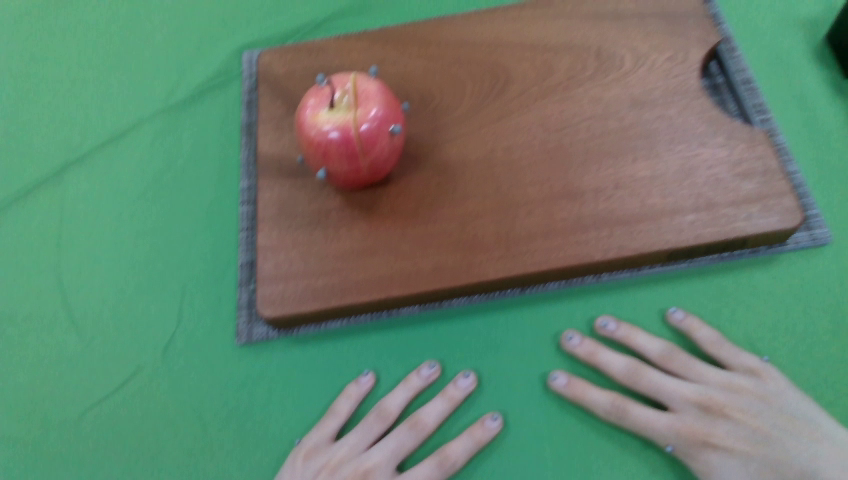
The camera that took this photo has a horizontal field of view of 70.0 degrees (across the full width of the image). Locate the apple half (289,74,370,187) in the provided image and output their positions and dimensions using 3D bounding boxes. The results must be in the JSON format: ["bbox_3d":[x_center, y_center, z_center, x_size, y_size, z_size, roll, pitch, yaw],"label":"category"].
[{"bbox_3d":[-0.073,-0.078,0.460,0.053,0.075,0.080,-11,65,6],"label":"apple half"}]

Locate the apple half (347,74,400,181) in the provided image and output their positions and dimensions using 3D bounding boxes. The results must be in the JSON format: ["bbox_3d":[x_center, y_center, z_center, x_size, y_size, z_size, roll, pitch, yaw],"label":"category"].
[{"bbox_3d":[-0.034,-0.085,0.458,0.033,0.082,0.080,-9,62,5],"label":"apple half"}]
